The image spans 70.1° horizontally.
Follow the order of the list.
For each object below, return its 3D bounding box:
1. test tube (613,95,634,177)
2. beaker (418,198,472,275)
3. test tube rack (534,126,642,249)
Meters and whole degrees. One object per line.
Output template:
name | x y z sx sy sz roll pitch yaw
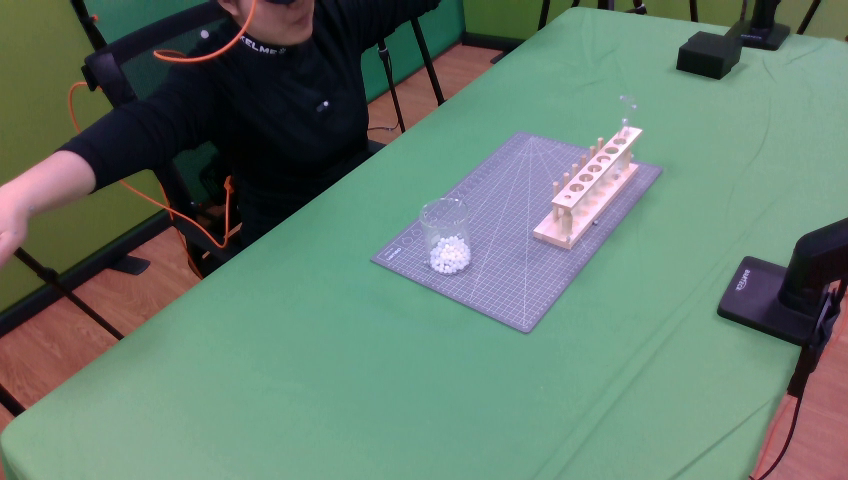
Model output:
test tube | 0.324 -0.166 0.987 0.017 0.151 0.017 -4 42 4
beaker | 0.037 -0.004 0.916 0.073 0.101 0.084 24 49 33
test tube rack | 0.271 -0.095 0.989 0.066 0.085 0.243 23 49 33
